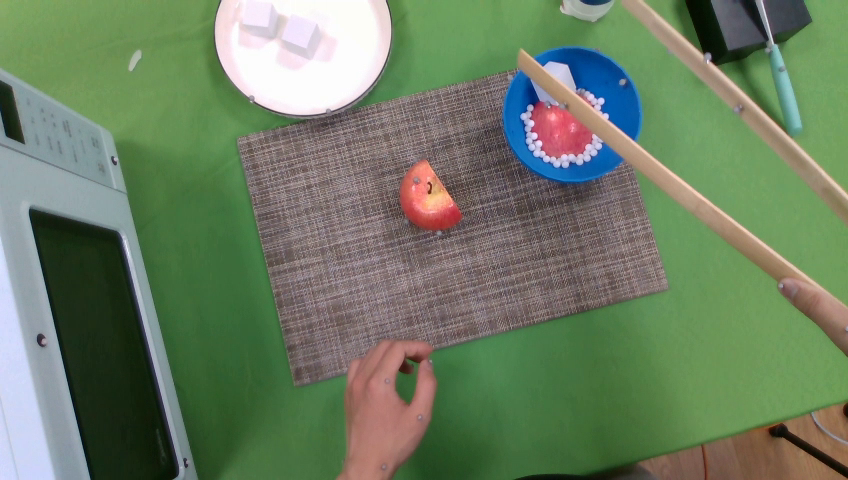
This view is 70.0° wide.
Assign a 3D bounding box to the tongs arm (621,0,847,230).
[{"bbox_3d":[0.263,-0.089,0.501,0.051,0.027,0.381,-31,67,-8],"label":"tongs arm"}]

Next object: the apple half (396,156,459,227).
[{"bbox_3d":[-0.003,-0.047,0.681,0.053,0.074,0.081,-34,90,0],"label":"apple half"}]

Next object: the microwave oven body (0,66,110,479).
[{"bbox_3d":[-0.461,0.105,0.568,0.326,0.260,0.440,-16,86,-3],"label":"microwave oven body"}]

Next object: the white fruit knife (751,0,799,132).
[{"bbox_3d":[0.397,-0.221,0.698,0.016,0.027,0.208,-21,102,15],"label":"white fruit knife"}]

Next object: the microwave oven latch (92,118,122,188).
[{"bbox_3d":[-0.368,-0.095,0.684,0.030,0.029,0.079,-16,86,-3],"label":"microwave oven latch"}]

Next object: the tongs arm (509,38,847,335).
[{"bbox_3d":[0.206,-0.052,0.492,0.028,0.028,0.384,-38,67,-15],"label":"tongs arm"}]

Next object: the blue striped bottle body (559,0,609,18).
[{"bbox_3d":[0.195,-0.308,0.686,0.063,0.121,0.063,0,84,0],"label":"blue striped bottle body"}]

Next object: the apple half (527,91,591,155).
[{"bbox_3d":[0.157,-0.136,0.684,0.081,0.033,0.081,0,84,2],"label":"apple half"}]

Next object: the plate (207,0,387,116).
[{"bbox_3d":[-0.147,-0.245,0.719,0.208,0.039,0.207,0,85,-1],"label":"plate"}]

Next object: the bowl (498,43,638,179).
[{"bbox_3d":[0.155,-0.136,0.688,0.151,0.077,0.151,0,85,0],"label":"bowl"}]

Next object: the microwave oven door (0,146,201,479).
[{"bbox_3d":[-0.309,0.104,0.566,0.039,0.244,0.355,-17,85,-2],"label":"microwave oven door"}]
